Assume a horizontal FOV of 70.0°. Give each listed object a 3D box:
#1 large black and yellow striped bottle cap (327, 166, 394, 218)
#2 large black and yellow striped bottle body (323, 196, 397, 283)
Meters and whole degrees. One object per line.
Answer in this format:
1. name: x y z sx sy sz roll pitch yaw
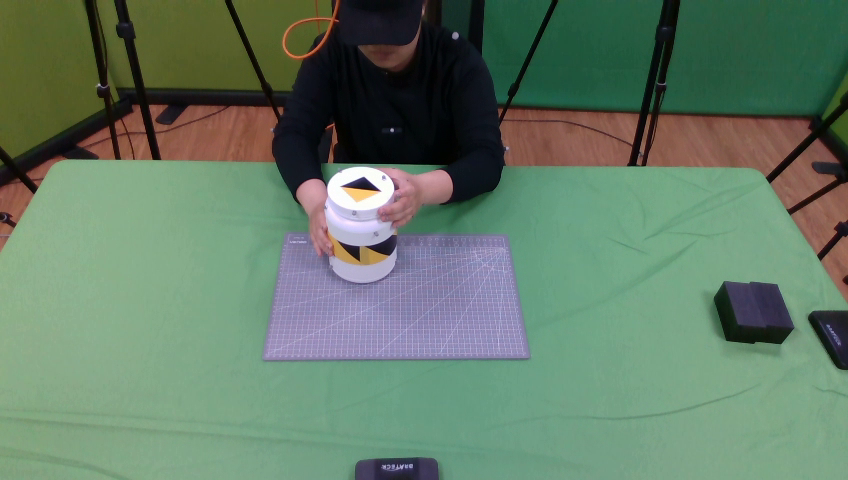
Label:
1. large black and yellow striped bottle cap: -0.108 -0.084 1.038 0.115 0.019 0.114 2 47 -2
2. large black and yellow striped bottle body: -0.114 -0.025 1.098 0.131 0.185 0.130 2 46 -2
